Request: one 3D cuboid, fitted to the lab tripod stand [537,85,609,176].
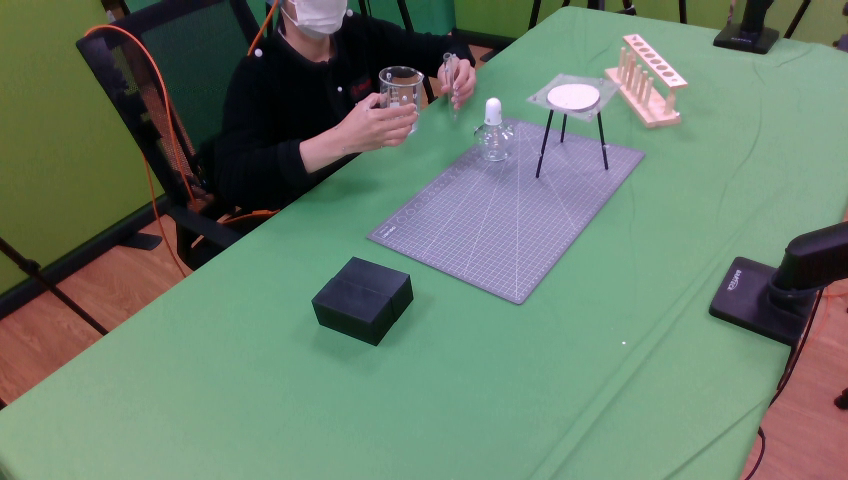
[{"bbox_3d":[0.259,-0.192,1.068,0.148,0.132,0.147,-4,43,4],"label":"lab tripod stand"}]

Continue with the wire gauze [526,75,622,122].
[{"bbox_3d":[0.255,-0.248,1.030,0.124,0.011,0.122,24,51,32],"label":"wire gauze"}]

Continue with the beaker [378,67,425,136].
[{"bbox_3d":[-0.039,-0.238,1.044,0.084,0.100,0.073,-18,45,-26],"label":"beaker"}]

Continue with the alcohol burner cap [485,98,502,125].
[{"bbox_3d":[0.126,-0.234,1.097,0.034,0.048,0.033,-3,39,3],"label":"alcohol burner cap"}]

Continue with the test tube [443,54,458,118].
[{"bbox_3d":[0.050,-0.284,1.129,0.017,0.151,0.017,-4,56,7],"label":"test tube"}]

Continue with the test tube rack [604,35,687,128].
[{"bbox_3d":[0.447,-0.330,1.241,0.067,0.085,0.241,-9,41,-1],"label":"test tube rack"}]

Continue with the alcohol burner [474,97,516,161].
[{"bbox_3d":[0.131,-0.208,1.121,0.078,0.119,0.077,-6,40,5],"label":"alcohol burner"}]
